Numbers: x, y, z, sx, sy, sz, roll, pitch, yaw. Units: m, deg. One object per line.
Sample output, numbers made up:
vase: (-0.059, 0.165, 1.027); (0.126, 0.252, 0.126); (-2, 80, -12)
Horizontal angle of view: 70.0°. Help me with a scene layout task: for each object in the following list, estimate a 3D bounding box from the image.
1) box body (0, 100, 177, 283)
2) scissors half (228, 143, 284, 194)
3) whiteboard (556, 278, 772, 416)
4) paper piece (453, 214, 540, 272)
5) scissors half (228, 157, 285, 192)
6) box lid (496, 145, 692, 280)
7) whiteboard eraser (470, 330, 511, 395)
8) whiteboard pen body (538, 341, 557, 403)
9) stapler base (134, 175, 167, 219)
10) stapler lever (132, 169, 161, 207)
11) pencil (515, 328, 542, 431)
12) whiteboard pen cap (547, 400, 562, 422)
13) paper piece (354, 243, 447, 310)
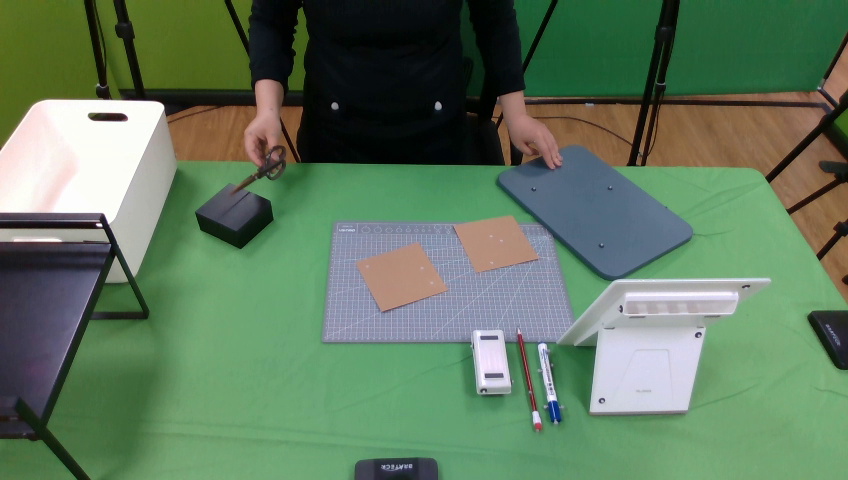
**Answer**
box body: (-0.639, -0.095, 1.140); (0.254, 0.161, 0.361); (0, 46, -4)
scissors half: (-0.326, -0.139, 1.181); (0.013, 0.040, 0.174); (20, 47, 15)
whiteboard: (0.347, 0.174, 0.903); (0.217, 0.306, 0.143); (1, 65, -4)
paper piece: (0.142, 0.003, 1.213); (0.135, 0.004, 0.135); (-11, 47, -14)
scissors half: (-0.328, -0.124, 1.194); (0.013, 0.040, 0.175); (16, 29, 18)
box lid: (0.360, -0.074, 1.305); (0.263, 0.015, 0.369); (-24, 52, -25)
whiteboard eraser: (0.110, 0.202, 0.998); (0.055, 0.042, 0.112); (1, 46, -5)
whiteboard pen body: (0.205, 0.228, 0.997); (0.017, 0.017, 0.140); (1, 46, -3)
stapler base: (-0.559, -0.093, 1.234); (0.041, 0.024, 0.129); (0, 43, -8)
stapler lever: (-0.558, -0.113, 1.218); (0.027, 0.040, 0.117); (0, 42, -8)
pencil: (0.169, 0.224, 1.002); (0.012, 0.012, 0.192); (-2, 46, -6)
whiteboard pen cap: (0.205, 0.269, 0.956); (0.018, 0.018, 0.033); (0, 47, -5)
paper piece: (-0.045, 0.066, 1.137); (0.136, 0.009, 0.137); (-13, 46, -23)
